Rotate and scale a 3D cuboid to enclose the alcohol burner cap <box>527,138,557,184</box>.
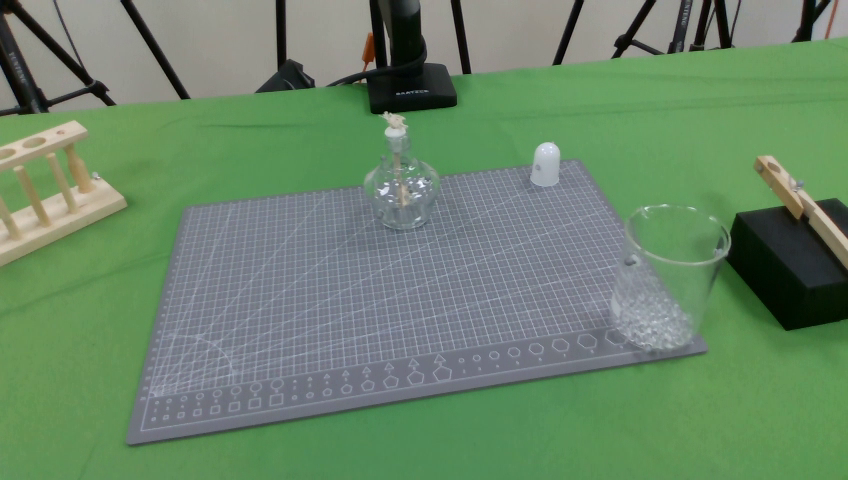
[{"bbox_3d":[0.131,-0.090,0.667,0.034,0.048,0.033,-1,40,2],"label":"alcohol burner cap"}]

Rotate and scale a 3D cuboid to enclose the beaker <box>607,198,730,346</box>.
[{"bbox_3d":[0.185,0.027,0.479,0.074,0.101,0.083,-13,40,-12],"label":"beaker"}]

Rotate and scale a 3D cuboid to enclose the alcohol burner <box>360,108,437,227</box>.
[{"bbox_3d":[-0.027,-0.073,0.600,0.078,0.120,0.077,-3,39,3],"label":"alcohol burner"}]

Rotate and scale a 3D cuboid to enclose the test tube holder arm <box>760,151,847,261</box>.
[{"bbox_3d":[0.337,-0.026,0.528,0.013,0.015,0.176,-11,40,2],"label":"test tube holder arm"}]

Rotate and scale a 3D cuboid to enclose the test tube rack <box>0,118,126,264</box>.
[{"bbox_3d":[-0.437,-0.027,0.595,0.066,0.086,0.242,30,50,33],"label":"test tube rack"}]

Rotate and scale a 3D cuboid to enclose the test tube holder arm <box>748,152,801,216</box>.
[{"bbox_3d":[0.327,-0.054,0.562,0.010,0.015,0.087,-11,40,3],"label":"test tube holder arm"}]
